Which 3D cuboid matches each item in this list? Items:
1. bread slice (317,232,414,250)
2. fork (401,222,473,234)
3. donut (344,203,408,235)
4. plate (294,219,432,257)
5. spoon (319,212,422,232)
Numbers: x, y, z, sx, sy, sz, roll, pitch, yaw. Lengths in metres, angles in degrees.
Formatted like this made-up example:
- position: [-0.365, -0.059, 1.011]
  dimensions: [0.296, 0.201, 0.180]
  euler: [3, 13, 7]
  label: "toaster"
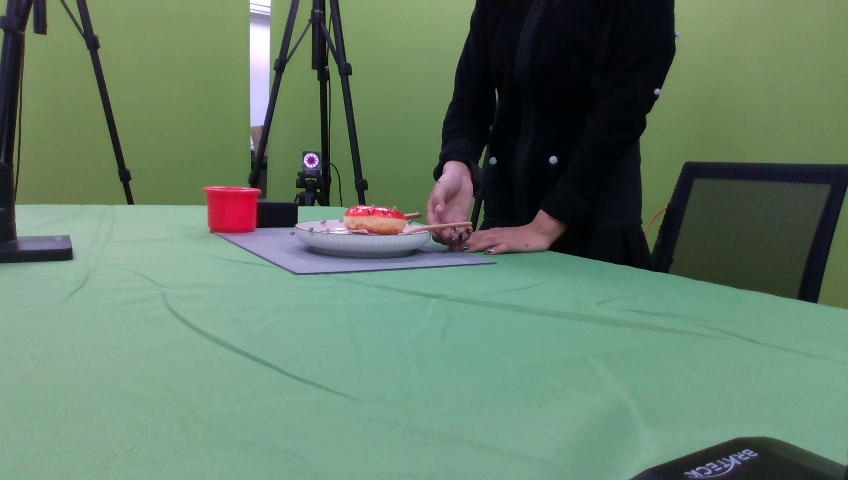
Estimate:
- position: [-0.093, 0.000, 0.915]
  dimensions: [0.132, 0.019, 0.104]
  euler: [0, 6, -26]
  label: "bread slice"
- position: [-0.016, -0.008, 0.887]
  dimensions: [0.208, 0.018, 0.028]
  euler: [-15, 1, -27]
  label: "fork"
- position: [-0.074, -0.031, 0.931]
  dimensions: [0.099, 0.048, 0.099]
  euler: [4, 3, 0]
  label: "donut"
- position: [-0.092, -0.003, 0.924]
  dimensions: [0.209, 0.038, 0.209]
  euler: [2, 7, 0]
  label: "plate"
- position: [-0.083, -0.028, 1.005]
  dimensions: [0.194, 0.021, 0.041]
  euler: [-16, 22, -30]
  label: "spoon"
